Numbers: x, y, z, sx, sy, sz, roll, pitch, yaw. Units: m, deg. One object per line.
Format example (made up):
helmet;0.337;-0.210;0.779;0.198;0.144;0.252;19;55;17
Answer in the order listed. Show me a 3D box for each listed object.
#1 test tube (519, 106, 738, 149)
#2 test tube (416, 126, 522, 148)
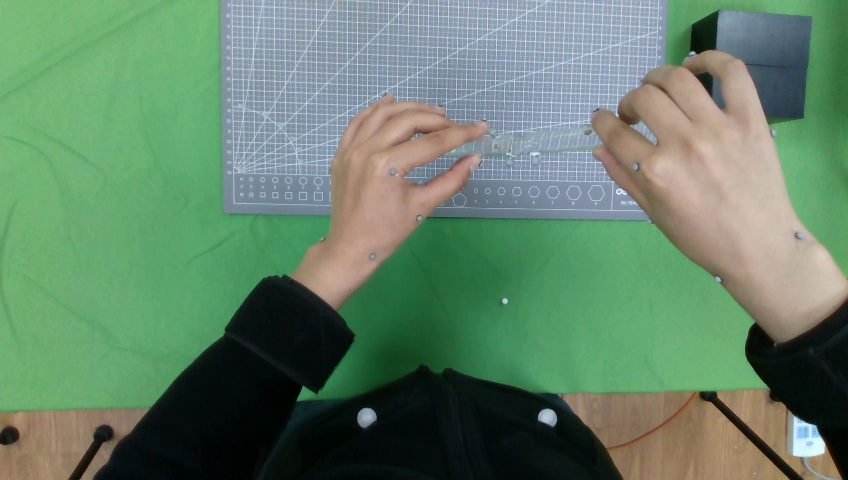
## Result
test tube;0.140;-0.078;0.414;0.150;0.017;0.017;-6;96;-2
test tube;0.030;-0.082;0.483;0.017;0.149;0.017;-5;100;-26
